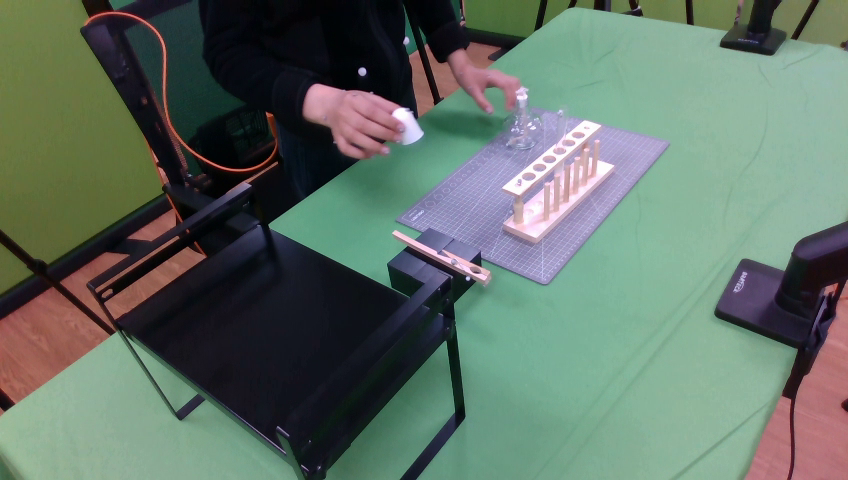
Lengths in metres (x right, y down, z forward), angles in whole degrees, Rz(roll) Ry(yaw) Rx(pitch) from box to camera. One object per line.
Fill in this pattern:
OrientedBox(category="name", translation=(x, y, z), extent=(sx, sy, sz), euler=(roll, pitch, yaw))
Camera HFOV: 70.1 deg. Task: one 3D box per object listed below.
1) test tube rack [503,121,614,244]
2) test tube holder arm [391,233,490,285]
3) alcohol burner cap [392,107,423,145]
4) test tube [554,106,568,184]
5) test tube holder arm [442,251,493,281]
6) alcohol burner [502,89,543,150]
OrientedBox(category="test tube rack", translation=(0.230, -0.101, 1.006), extent=(0.066, 0.085, 0.243), euler=(26, 50, 35))
OrientedBox(category="test tube holder arm", translation=(0.020, 0.025, 0.872), extent=(0.177, 0.015, 0.013), euler=(22, 56, 32))
OrientedBox(category="alcohol burner cap", translation=(-0.024, -0.154, 0.803), extent=(0.034, 0.048, 0.033), euler=(-19, 30, 12))
OrientedBox(category="test tube", translation=(0.224, -0.151, 0.987), extent=(0.017, 0.151, 0.017), euler=(-4, 43, 4))
OrientedBox(category="test tube holder arm", translation=(0.058, 0.036, 0.851), extent=(0.087, 0.015, 0.010), euler=(23, 57, 32))
OrientedBox(category="alcohol burner", translation=(0.186, -0.233, 1.147), extent=(0.078, 0.119, 0.077), euler=(-5, 42, 5))
